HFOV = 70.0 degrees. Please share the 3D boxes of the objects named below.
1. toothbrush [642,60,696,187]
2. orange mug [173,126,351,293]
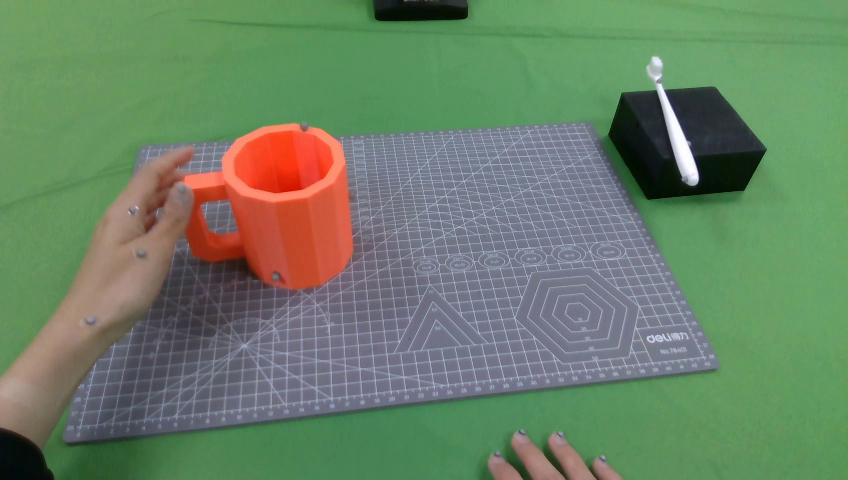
[{"bbox_3d":[0.225,-0.113,0.558,0.014,0.017,0.180,6,48,-2],"label":"toothbrush"},{"bbox_3d":[-0.119,-0.021,0.460,0.126,0.101,0.082,-7,48,-15],"label":"orange mug"}]
